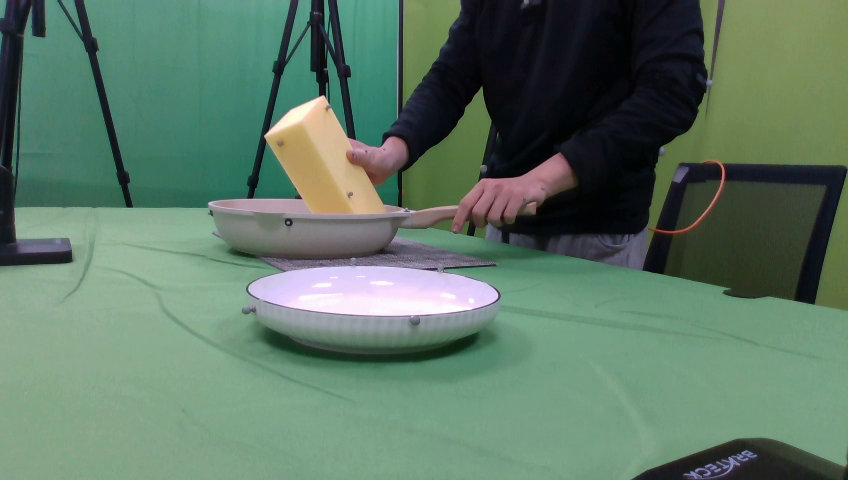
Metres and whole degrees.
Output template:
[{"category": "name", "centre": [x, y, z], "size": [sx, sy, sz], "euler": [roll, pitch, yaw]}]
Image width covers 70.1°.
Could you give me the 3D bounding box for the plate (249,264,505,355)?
[{"category": "plate", "centre": [-0.037, 0.056, 0.504], "size": [0.208, 0.039, 0.207], "euler": [2, 7, 0]}]

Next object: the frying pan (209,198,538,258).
[{"category": "frying pan", "centre": [-0.075, -0.034, 0.912], "size": [0.487, 0.102, 0.307], "euler": [-5, 7, 12]}]

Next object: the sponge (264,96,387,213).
[{"category": "sponge", "centre": [-0.138, -0.094, 0.893], "size": [0.061, 0.207, 0.118], "euler": [-20, 27, 18]}]
